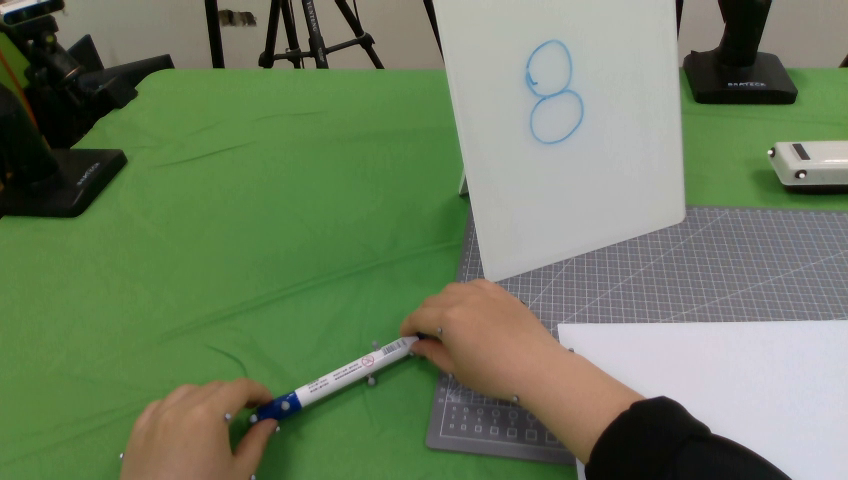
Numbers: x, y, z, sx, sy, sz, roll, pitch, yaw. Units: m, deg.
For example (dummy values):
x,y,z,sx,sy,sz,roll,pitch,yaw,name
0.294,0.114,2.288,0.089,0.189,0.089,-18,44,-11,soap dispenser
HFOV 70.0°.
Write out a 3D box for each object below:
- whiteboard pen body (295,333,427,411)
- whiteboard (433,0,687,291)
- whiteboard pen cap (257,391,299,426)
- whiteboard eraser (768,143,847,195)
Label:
x,y,z,sx,sy,sz,roll,pitch,yaw,name
-0.061,0.110,0.490,0.141,0.017,0.017,-23,44,-20,whiteboard pen body
0.113,-0.142,0.586,0.217,0.307,0.142,-16,22,-10,whiteboard
-0.112,0.130,0.471,0.033,0.018,0.018,-22,44,-21,whiteboard pen cap
0.422,-0.073,0.623,0.112,0.042,0.055,1,44,7,whiteboard eraser
